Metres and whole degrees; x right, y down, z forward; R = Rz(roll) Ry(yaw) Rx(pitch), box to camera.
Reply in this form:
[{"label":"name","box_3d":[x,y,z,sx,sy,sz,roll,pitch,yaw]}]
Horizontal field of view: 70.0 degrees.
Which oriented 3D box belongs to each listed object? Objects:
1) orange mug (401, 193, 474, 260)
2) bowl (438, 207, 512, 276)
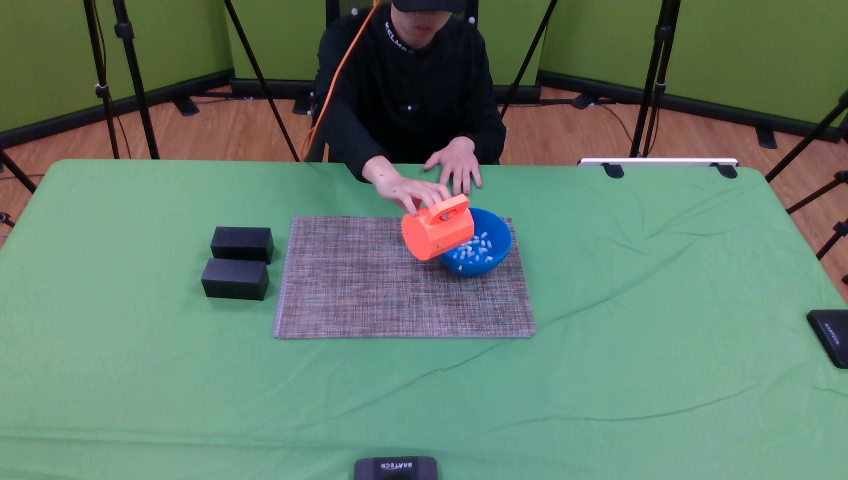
[{"label":"orange mug","box_3d":[0.029,-0.030,1.039,0.101,0.126,0.083,-22,67,-33]},{"label":"bowl","box_3d":[0.086,0.016,1.146,0.151,0.077,0.150,3,46,-3]}]
